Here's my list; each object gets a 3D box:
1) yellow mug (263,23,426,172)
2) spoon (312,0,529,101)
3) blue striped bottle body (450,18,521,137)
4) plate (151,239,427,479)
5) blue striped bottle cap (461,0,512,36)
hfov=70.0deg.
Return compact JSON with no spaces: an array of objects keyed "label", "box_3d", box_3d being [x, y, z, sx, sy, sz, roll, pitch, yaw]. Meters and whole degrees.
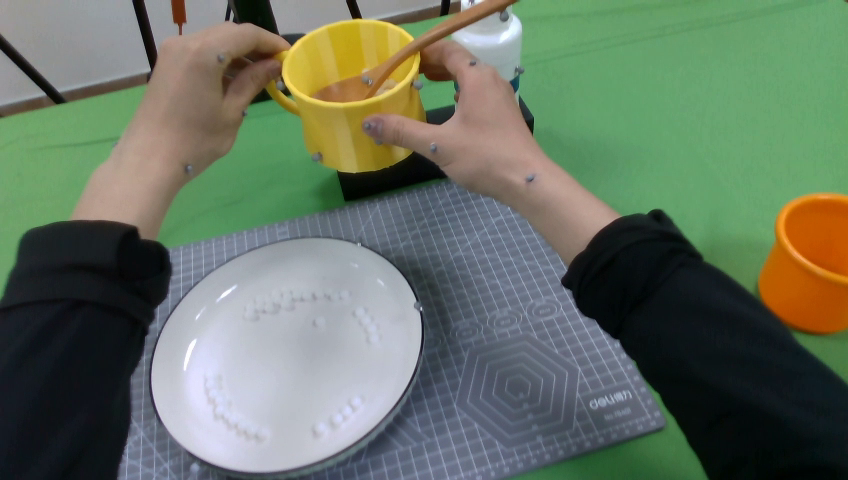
[{"label":"yellow mug","box_3d":[-0.065,-0.113,0.464,0.130,0.064,0.099,12,53,15]},{"label":"spoon","box_3d":[-0.007,-0.133,0.435,0.193,0.022,0.041,-24,51,27]},{"label":"blue striped bottle body","box_3d":[0.056,-0.160,0.556,0.063,0.122,0.062,-3,48,4]},{"label":"plate","box_3d":[-0.100,0.088,0.472,0.207,0.039,0.205,-3,48,3]},{"label":"blue striped bottle cap","box_3d":[0.053,-0.195,0.517,0.044,0.021,0.044,-5,48,6]}]
